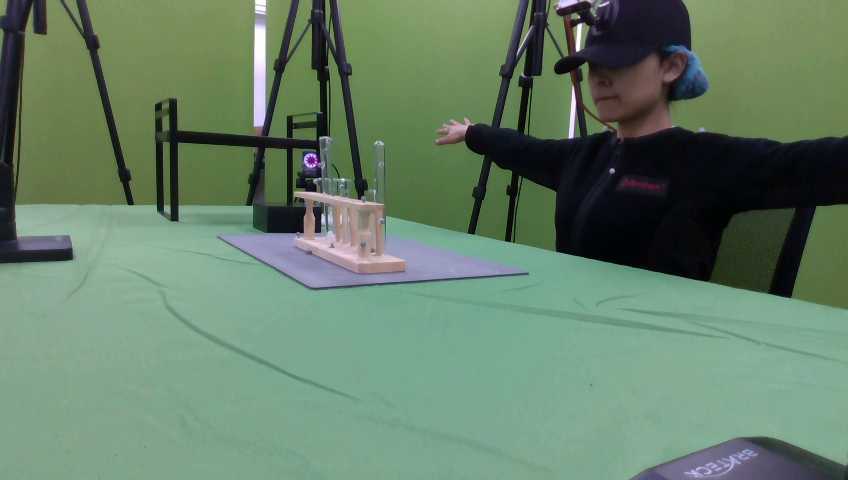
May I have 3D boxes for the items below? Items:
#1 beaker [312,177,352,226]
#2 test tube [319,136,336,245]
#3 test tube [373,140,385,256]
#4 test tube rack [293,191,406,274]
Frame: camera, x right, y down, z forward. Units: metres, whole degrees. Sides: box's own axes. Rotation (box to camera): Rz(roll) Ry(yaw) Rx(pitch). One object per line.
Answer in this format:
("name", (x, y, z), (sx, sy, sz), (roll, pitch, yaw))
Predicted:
("beaker", (-0.194, -0.081, 1.266), (0.084, 0.100, 0.073), (-3, 9, -29))
("test tube", (-0.134, -0.068, 0.837), (0.017, 0.150, 0.017), (-3, 4, 0))
("test tube", (-0.058, -0.053, 0.781), (0.017, 0.150, 0.017), (0, 5, 0))
("test tube rack", (-0.110, -0.017, 0.836), (0.067, 0.085, 0.241), (-2, 9, -30))
